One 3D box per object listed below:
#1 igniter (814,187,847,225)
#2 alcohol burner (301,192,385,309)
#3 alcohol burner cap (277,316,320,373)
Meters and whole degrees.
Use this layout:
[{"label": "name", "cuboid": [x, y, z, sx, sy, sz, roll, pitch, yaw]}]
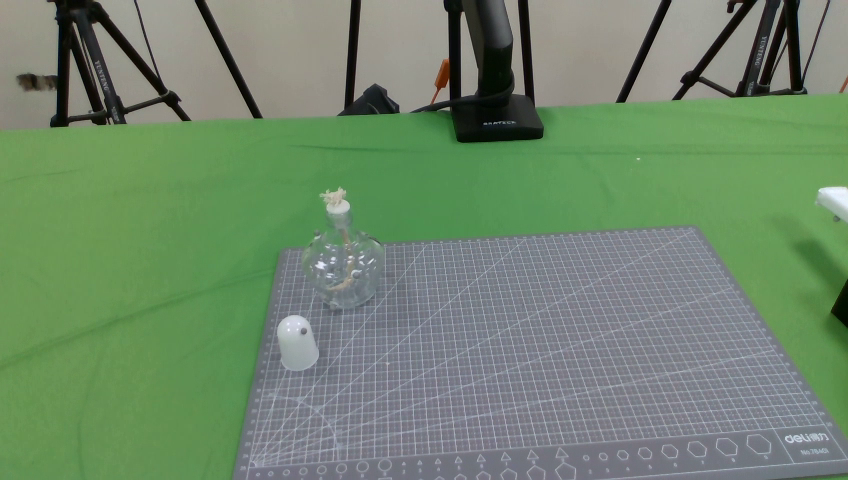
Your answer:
[{"label": "igniter", "cuboid": [0.431, 0.026, 0.509, 0.057, 0.025, 0.273, -4, 33, -5]}, {"label": "alcohol burner", "cuboid": [-0.075, 0.005, 0.551, 0.078, 0.120, 0.077, 1, 39, 0]}, {"label": "alcohol burner cap", "cuboid": [-0.107, 0.084, 0.508, 0.034, 0.048, 0.033, 0, 38, 0]}]
